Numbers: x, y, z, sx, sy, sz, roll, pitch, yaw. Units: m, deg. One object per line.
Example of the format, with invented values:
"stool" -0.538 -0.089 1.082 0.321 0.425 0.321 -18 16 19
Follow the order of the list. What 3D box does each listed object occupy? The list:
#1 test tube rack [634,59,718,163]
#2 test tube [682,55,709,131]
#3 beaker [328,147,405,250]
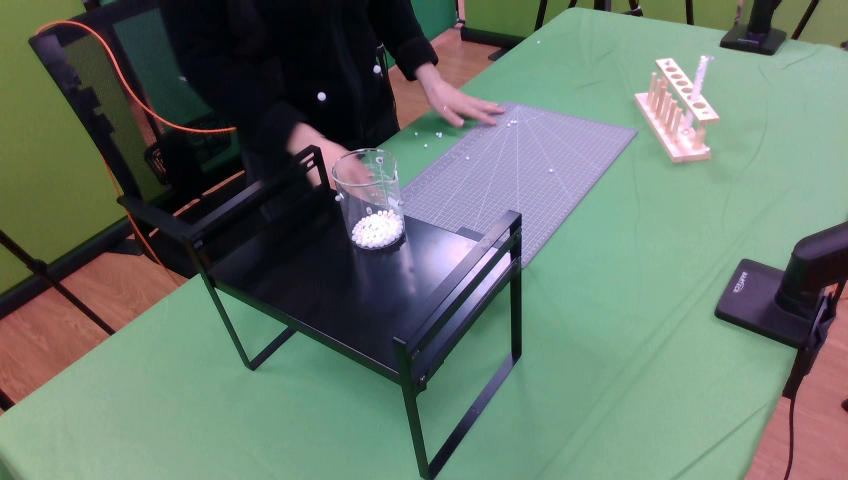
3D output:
"test tube rack" 0.470 -0.250 1.148 0.067 0.085 0.241 -6 40 3
"test tube" 0.484 -0.259 1.079 0.017 0.151 0.017 -3 44 4
"beaker" -0.060 -0.045 0.699 0.083 0.101 0.074 19 47 27
